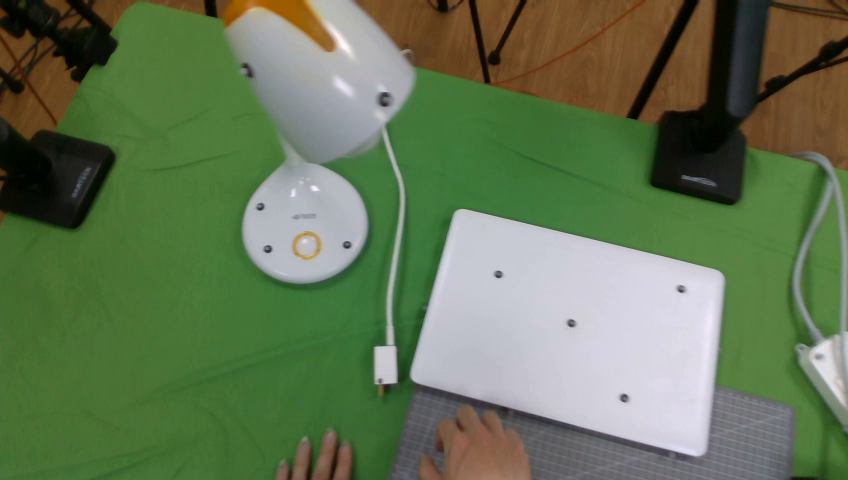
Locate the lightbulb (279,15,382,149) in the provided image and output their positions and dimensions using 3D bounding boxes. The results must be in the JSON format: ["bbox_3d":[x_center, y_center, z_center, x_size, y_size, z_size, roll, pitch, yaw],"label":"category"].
[{"bbox_3d":[-0.072,-0.117,0.453,0.059,0.109,0.059,-19,38,16],"label":"lightbulb"}]

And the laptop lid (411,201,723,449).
[{"bbox_3d":[0.181,0.095,0.739,0.356,0.013,0.240,15,71,4],"label":"laptop lid"}]

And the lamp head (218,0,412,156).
[{"bbox_3d":[-0.088,-0.141,0.442,0.124,0.111,0.112,46,69,-30],"label":"lamp head"}]

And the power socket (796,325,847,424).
[{"bbox_3d":[0.537,0.204,0.713,0.072,0.033,0.225,-25,72,-11],"label":"power socket"}]

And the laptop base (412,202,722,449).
[{"bbox_3d":[0.181,0.097,0.751,0.354,0.023,0.234,14,72,3],"label":"laptop base"}]

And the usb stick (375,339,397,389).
[{"bbox_3d":[-0.045,0.148,0.721,0.027,0.021,0.059,1,80,-3],"label":"usb stick"}]

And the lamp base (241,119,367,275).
[{"bbox_3d":[-0.156,-0.069,0.715,0.161,0.181,0.177,-15,68,-7],"label":"lamp base"}]
